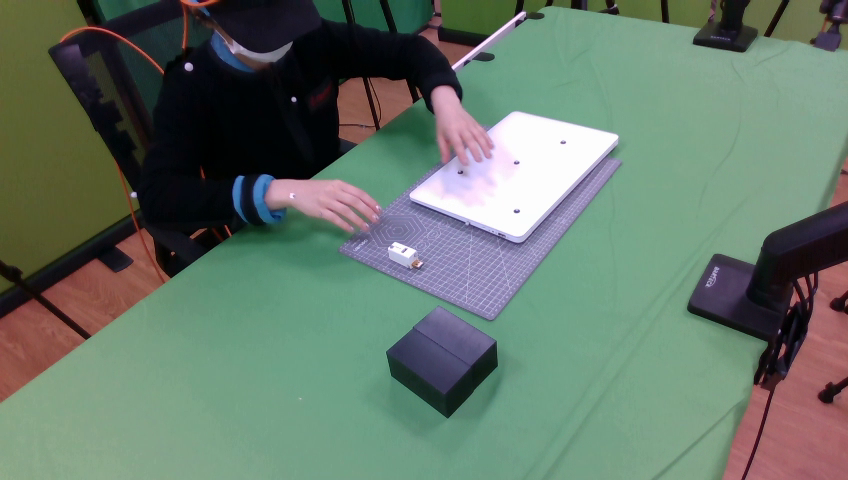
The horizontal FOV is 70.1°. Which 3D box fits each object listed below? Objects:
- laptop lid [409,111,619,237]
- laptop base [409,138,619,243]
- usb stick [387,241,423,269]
[{"bbox_3d":[0.167,-0.136,1.089,0.239,0.013,0.358,24,49,34],"label":"laptop lid"},{"bbox_3d":[0.170,-0.126,1.096,0.233,0.023,0.355,22,47,33],"label":"laptop base"},{"bbox_3d":[-0.028,0.026,0.934,0.059,0.027,0.021,26,49,29],"label":"usb stick"}]
